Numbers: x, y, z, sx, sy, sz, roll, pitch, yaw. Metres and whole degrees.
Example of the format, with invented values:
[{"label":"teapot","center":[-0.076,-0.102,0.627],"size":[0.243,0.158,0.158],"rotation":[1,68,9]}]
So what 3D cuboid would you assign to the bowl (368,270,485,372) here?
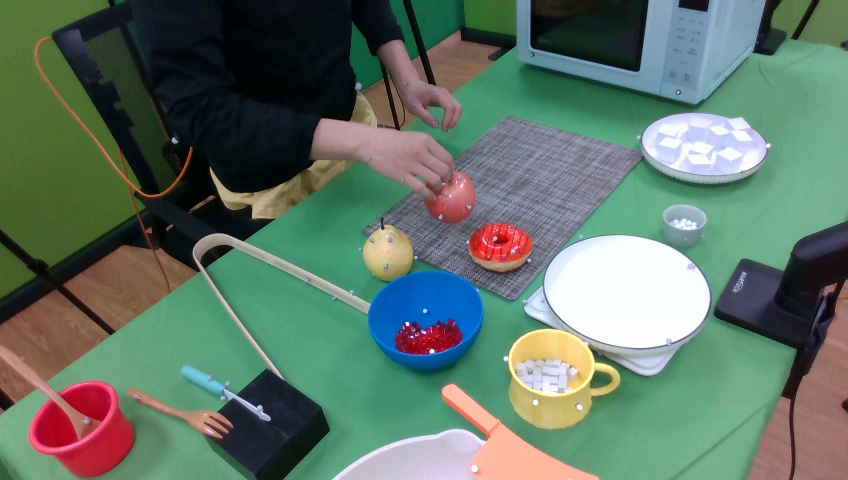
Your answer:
[{"label":"bowl","center":[0.007,0.118,0.791],"size":[0.151,0.077,0.150],"rotation":[-5,40,4]}]

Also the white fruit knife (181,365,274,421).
[{"label":"white fruit knife","center":[-0.246,0.187,0.747],"size":[0.205,0.027,0.016],"rotation":[9,42,40]}]

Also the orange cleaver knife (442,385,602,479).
[{"label":"orange cleaver knife","center":[0.086,0.219,0.612],"size":[0.209,0.012,0.077],"rotation":[28,49,35]}]

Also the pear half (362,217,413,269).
[{"label":"pear half","center":[-0.059,0.002,0.913],"size":[0.076,0.110,0.055],"rotation":[-14,40,-13]}]

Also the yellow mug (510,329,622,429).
[{"label":"yellow mug","center":[0.168,0.164,0.721],"size":[0.130,0.064,0.099],"rotation":[0,40,8]}]

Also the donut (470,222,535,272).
[{"label":"donut","center":[0.119,0.009,0.923],"size":[0.099,0.048,0.098],"rotation":[-4,38,3]}]

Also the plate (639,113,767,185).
[{"label":"plate","center":[0.489,-0.157,1.074],"size":[0.207,0.039,0.206],"rotation":[-4,40,4]}]

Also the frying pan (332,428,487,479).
[{"label":"frying pan","center":[-0.089,0.306,0.564],"size":[0.487,0.103,0.306],"rotation":[9,41,7]}]

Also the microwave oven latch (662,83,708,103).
[{"label":"microwave oven latch","center":[0.517,-0.296,1.204],"size":[0.078,0.029,0.030],"rotation":[27,52,35]}]

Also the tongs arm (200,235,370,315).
[{"label":"tongs arm","center":[-0.209,0.062,0.924],"size":[0.381,0.026,0.051],"rotation":[23,52,32]}]

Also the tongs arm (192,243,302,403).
[{"label":"tongs arm","center":[-0.268,0.108,0.882],"size":[0.028,0.028,0.384],"rotation":[-35,46,-19]}]

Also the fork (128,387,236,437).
[{"label":"fork","center":[-0.305,0.207,0.744],"size":[0.206,0.019,0.028],"rotation":[3,40,36]}]

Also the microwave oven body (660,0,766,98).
[{"label":"microwave oven body","center":[0.472,-0.513,1.317],"size":[0.438,0.261,0.327],"rotation":[26,51,34]}]

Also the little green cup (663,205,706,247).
[{"label":"little green cup","center":[0.396,-0.020,0.926],"size":[0.061,0.039,0.061],"rotation":[-4,40,4]}]

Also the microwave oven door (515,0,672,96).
[{"label":"microwave oven door","center":[0.343,-0.455,1.259],"size":[0.353,0.245,0.039],"rotation":[26,51,33]}]

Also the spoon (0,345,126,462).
[{"label":"spoon","center":[-0.434,0.192,0.720],"size":[0.194,0.021,0.042],"rotation":[47,53,-7]}]

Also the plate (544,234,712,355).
[{"label":"plate","center":[0.262,0.072,0.792],"size":[0.209,0.038,0.208],"rotation":[-4,41,4]}]

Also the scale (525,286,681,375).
[{"label":"scale","center":[0.254,0.091,0.821],"size":[0.199,0.032,0.149],"rotation":[28,51,35]}]

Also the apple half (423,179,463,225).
[{"label":"apple half","center":[0.023,-0.049,0.911],"size":[0.080,0.081,0.033],"rotation":[30,56,35]}]

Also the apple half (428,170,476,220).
[{"label":"apple half","center":[0.049,-0.073,0.928],"size":[0.053,0.075,0.080],"rotation":[-39,43,-26]}]

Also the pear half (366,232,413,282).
[{"label":"pear half","center":[-0.048,0.031,0.893],"size":[0.071,0.088,0.031],"rotation":[-16,40,-13]}]
